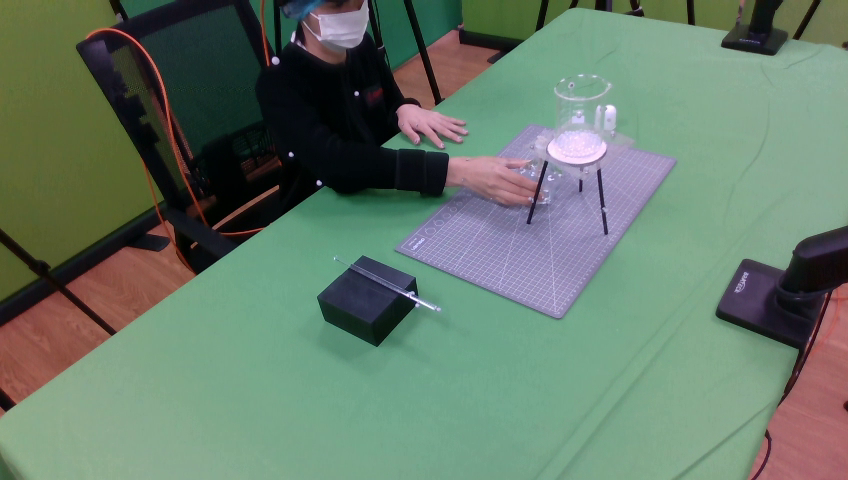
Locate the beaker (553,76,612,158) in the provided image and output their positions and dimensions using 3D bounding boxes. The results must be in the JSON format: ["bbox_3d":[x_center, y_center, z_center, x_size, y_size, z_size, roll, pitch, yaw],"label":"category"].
[{"bbox_3d":[0.230,-0.178,0.882,0.084,0.101,0.073,-9,41,1],"label":"beaker"}]

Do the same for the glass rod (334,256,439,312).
[{"bbox_3d":[-0.058,0.060,0.850,0.198,0.008,0.008,24,49,33],"label":"glass rod"}]

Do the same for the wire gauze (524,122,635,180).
[{"bbox_3d":[0.233,-0.142,0.913,0.122,0.011,0.124,-31,43,-26],"label":"wire gauze"}]

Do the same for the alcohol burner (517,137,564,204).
[{"bbox_3d":[0.196,-0.119,1.006,0.078,0.119,0.077,-1,39,1],"label":"alcohol burner"}]

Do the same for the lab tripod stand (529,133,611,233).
[{"bbox_3d":[0.236,-0.089,0.953,0.148,0.132,0.147,-5,42,5],"label":"lab tripod stand"}]

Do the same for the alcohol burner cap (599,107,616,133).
[{"bbox_3d":[0.361,-0.239,1.189,0.034,0.048,0.033,-4,40,4],"label":"alcohol burner cap"}]
